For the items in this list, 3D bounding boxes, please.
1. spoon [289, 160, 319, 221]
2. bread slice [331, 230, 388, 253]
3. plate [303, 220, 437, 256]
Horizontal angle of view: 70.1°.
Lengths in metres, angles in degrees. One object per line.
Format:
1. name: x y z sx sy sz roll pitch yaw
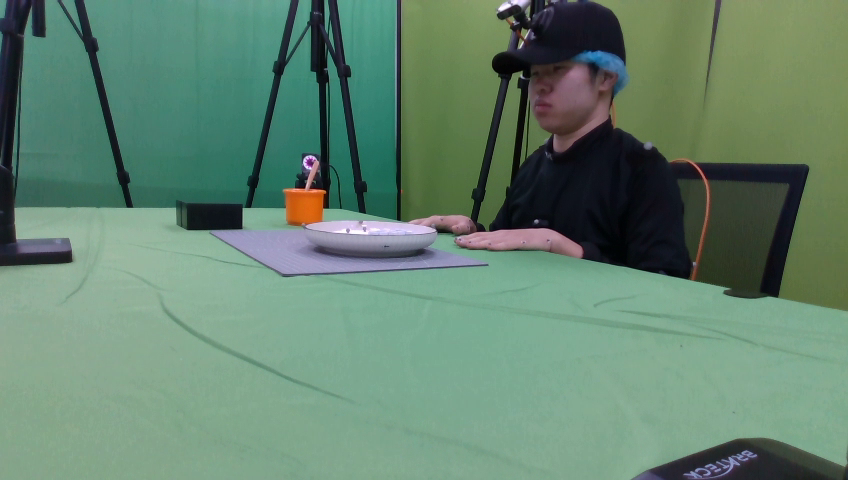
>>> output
1. spoon: -0.259 -0.112 1.339 0.041 0.193 0.022 1 -37 11
2. bread slice: -0.088 0.000 0.947 0.105 0.019 0.131 -4 11 -44
3. plate: -0.084 -0.003 0.951 0.209 0.038 0.209 3 7 0
